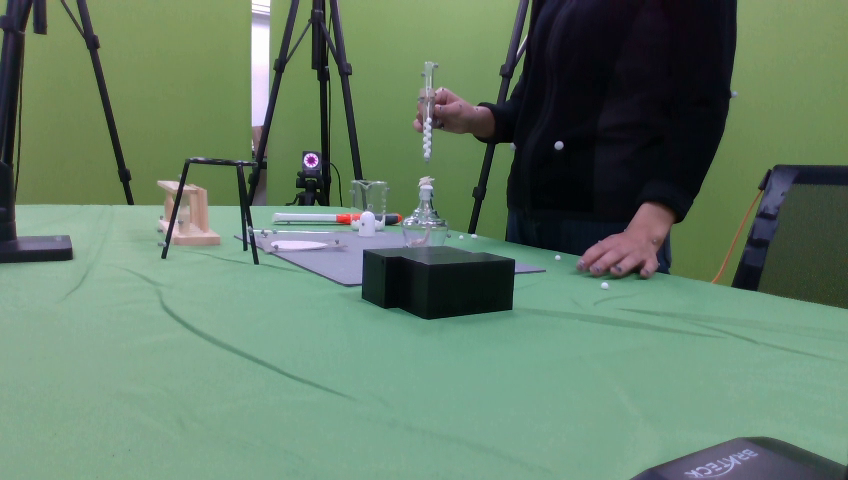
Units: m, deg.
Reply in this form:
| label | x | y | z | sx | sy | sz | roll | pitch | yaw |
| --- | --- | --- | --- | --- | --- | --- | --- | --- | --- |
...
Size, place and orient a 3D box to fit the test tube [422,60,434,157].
| label | x | y | z | sx | sy | sz | roll | pitch | yaw |
| --- | --- | --- | --- | --- | --- | --- | --- | --- | --- |
| test tube | 0.006 | -0.203 | 0.936 | 0.017 | 0.150 | 0.017 | 1 | -2 | 0 |

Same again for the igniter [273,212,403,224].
| label | x | y | z | sx | sy | sz | roll | pitch | yaw |
| --- | --- | --- | --- | --- | --- | --- | --- | --- | --- |
| igniter | -0.179 | -0.048 | 1.290 | 0.278 | 0.025 | 0.057 | -1 | -2 | -24 |

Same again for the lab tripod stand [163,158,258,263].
| label | x | y | z | sx | sy | sz | roll | pitch | yaw |
| --- | --- | --- | --- | --- | --- | --- | --- | --- | --- |
| lab tripod stand | -0.265 | -0.041 | 0.802 | 0.148 | 0.131 | 0.148 | 4 | 7 | 0 |

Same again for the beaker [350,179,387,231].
| label | x | y | z | sx | sy | sz | roll | pitch | yaw |
| --- | --- | --- | --- | --- | --- | --- | --- | --- | --- |
| beaker | -0.111 | -0.069 | 1.204 | 0.074 | 0.100 | 0.084 | 2 | 8 | 0 |

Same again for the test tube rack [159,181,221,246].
| label | x | y | z | sx | sy | sz | roll | pitch | yaw |
| --- | --- | --- | --- | --- | --- | --- | --- | --- | --- |
| test tube rack | -0.395 | -0.050 | 1.010 | 0.067 | 0.085 | 0.241 | -2 | 8 | -28 |

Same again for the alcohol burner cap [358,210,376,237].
| label | x | y | z | sx | sy | sz | roll | pitch | yaw |
| --- | --- | --- | --- | --- | --- | --- | --- | --- | --- |
| alcohol burner cap | -0.104 | -0.030 | 1.098 | 0.034 | 0.048 | 0.034 | 3 | 7 | 0 |

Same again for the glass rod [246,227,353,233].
| label | x | y | z | sx | sy | sz | roll | pitch | yaw |
| --- | --- | --- | --- | --- | --- | --- | --- | --- | --- |
| glass rod | -0.224 | -0.017 | 1.109 | 0.201 | 0.008 | 0.008 | 1 | 7 | -27 |

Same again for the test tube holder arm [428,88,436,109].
| label | x | y | z | sx | sy | sz | roll | pitch | yaw |
| --- | --- | --- | --- | --- | --- | --- | --- | --- | --- |
| test tube holder arm | 0.012 | -0.224 | 0.959 | 0.010 | 0.015 | 0.088 | 9 | 0 | -1 |

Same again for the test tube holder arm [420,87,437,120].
| label | x | y | z | sx | sy | sz | roll | pitch | yaw |
| --- | --- | --- | --- | --- | --- | --- | --- | --- | --- |
| test tube holder arm | 0.009 | -0.224 | 1.005 | 0.013 | 0.015 | 0.178 | 9 | 0 | 5 |

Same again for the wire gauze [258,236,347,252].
| label | x | y | z | sx | sy | sz | roll | pitch | yaw |
| --- | --- | --- | --- | --- | --- | --- | --- | --- | --- |
| wire gauze | -0.189 | 0.005 | 0.931 | 0.122 | 0.011 | 0.124 | 1 | 7 | -21 |

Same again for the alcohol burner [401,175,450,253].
| label | x | y | z | sx | sy | sz | roll | pitch | yaw |
| --- | --- | --- | --- | --- | --- | --- | --- | --- | --- |
| alcohol burner | 0.003 | -0.040 | 0.933 | 0.078 | 0.119 | 0.078 | 2 | 9 | 0 |
